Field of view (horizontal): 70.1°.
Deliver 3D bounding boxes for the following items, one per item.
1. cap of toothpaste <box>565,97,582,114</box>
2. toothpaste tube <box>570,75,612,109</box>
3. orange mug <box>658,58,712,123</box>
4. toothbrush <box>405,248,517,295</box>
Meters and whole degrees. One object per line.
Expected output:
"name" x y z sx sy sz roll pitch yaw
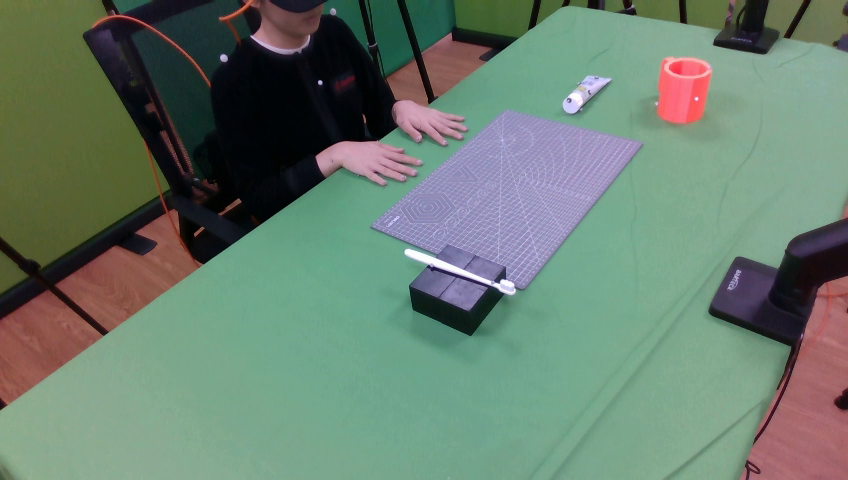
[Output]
"cap of toothpaste" 0.306 -0.277 1.239 0.037 0.037 0.011 17 44 26
"toothpaste tube" 0.351 -0.319 1.290 0.054 0.034 0.165 21 44 24
"orange mug" 0.504 -0.304 1.193 0.083 0.101 0.125 -13 45 -5
"toothbrush" 0.048 0.041 0.850 0.180 0.017 0.014 19 52 28
